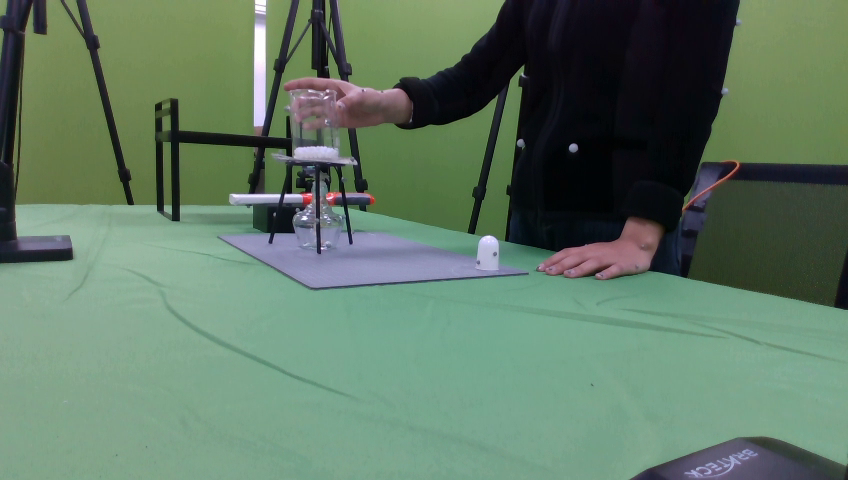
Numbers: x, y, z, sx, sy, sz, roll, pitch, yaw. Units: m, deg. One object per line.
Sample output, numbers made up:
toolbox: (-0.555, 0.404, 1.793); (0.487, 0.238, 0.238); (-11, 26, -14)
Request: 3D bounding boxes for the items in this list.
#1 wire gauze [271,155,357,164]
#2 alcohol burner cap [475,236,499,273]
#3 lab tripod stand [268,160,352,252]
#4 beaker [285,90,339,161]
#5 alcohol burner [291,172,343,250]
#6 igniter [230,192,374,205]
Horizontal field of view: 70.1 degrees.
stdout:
wire gauze: (-0.167, -0.122, 0.916); (0.125, 0.011, 0.121); (0, 7, -9)
alcohol burner cap: (0.084, 0.018, 0.799); (0.034, 0.048, 0.034); (3, 6, 0)
lab tripod stand: (-0.171, -0.055, 0.921); (0.148, 0.131, 0.148); (1, 8, 0)
beaker: (-0.163, -0.170, 0.903); (0.074, 0.100, 0.083); (-6, 7, -29)
alcohol burner: (-0.162, -0.045, 0.922); (0.078, 0.119, 0.078); (5, 7, 0)
igniter: (-0.228, -0.079, 1.164); (0.278, 0.025, 0.057); (-2, 14, -30)
